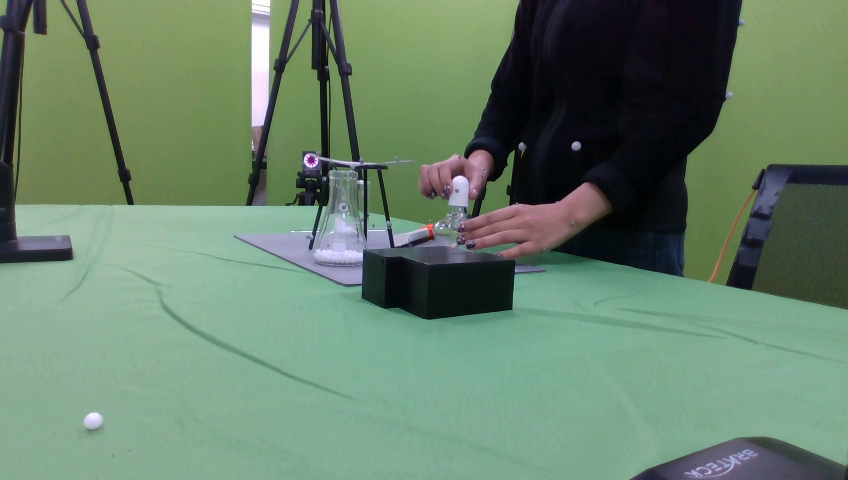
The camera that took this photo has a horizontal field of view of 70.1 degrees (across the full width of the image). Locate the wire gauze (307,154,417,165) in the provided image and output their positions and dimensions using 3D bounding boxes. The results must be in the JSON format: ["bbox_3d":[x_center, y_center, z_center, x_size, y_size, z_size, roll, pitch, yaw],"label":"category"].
[{"bbox_3d":[-0.094,-0.120,0.913,0.122,0.011,0.124,-5,11,-45],"label":"wire gauze"}]

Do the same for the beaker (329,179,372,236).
[{"bbox_3d":[-0.137,-0.061,1.101,0.084,0.100,0.074,4,7,20],"label":"beaker"}]

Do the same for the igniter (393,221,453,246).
[{"bbox_3d":[0.003,-0.015,1.083,0.057,0.025,0.277,-12,2,17],"label":"igniter"}]

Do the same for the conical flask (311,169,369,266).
[{"bbox_3d":[-0.107,-0.031,0.786,0.075,0.122,0.075,2,8,0],"label":"conical flask"}]

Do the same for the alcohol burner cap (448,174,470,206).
[{"bbox_3d":[0.052,-0.074,0.889,0.034,0.048,0.034,2,4,0],"label":"alcohol burner cap"}]

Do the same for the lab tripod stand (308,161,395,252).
[{"bbox_3d":[-0.098,-0.053,0.919,0.148,0.131,0.148,4,7,0],"label":"lab tripod stand"}]

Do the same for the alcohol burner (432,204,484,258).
[{"bbox_3d":[0.052,-0.033,0.894,0.078,0.119,0.078,2,9,0],"label":"alcohol burner"}]

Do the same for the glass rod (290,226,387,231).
[{"bbox_3d":[-0.161,-0.023,1.177,0.201,0.008,0.008,-2,8,-29],"label":"glass rod"}]
